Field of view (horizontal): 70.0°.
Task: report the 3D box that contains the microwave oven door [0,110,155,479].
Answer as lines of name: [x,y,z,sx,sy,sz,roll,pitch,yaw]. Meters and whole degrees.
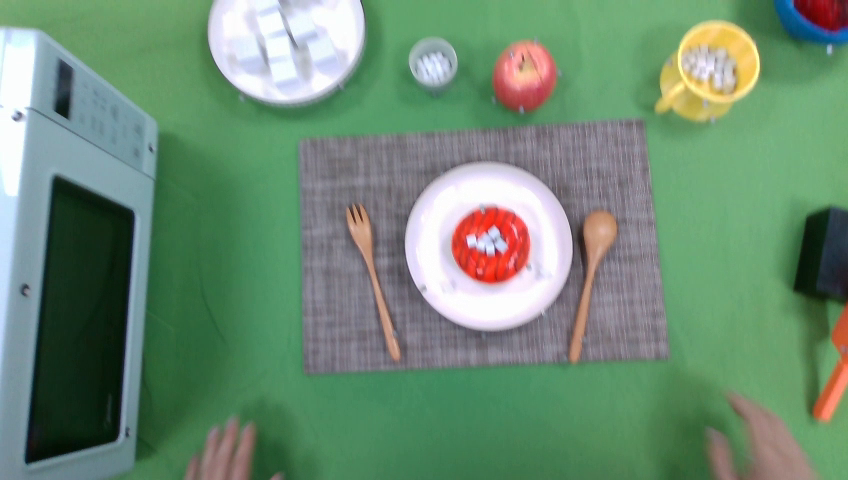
microwave oven door: [-0.368,0.075,0.637,0.039,0.244,0.354,0,80,3]

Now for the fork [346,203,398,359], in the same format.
fork: [-0.064,0.048,0.759,0.028,0.018,0.206,-14,80,-11]

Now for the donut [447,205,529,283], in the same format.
donut: [0.079,0.005,0.740,0.099,0.048,0.098,0,82,4]

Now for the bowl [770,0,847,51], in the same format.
bowl: [0.506,-0.301,0.771,0.151,0.077,0.151,0,81,3]

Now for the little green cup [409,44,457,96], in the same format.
little green cup: [0.013,-0.221,0.795,0.061,0.039,0.061,0,80,2]

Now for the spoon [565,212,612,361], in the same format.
spoon: [0.200,0.055,0.752,0.041,0.022,0.193,12,81,5]

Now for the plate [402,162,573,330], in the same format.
plate: [0.077,0.007,0.751,0.209,0.038,0.208,0,81,2]

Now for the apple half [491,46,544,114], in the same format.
apple half: [0.113,-0.196,0.770,0.053,0.075,0.080,-23,84,3]

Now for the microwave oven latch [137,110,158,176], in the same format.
microwave oven latch: [-0.359,-0.124,0.772,0.030,0.029,0.079,2,81,2]

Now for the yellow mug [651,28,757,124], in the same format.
yellow mug: [0.343,-0.197,0.766,0.131,0.064,0.099,-34,81,-3]

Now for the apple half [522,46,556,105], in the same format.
apple half: [0.149,-0.212,0.770,0.033,0.081,0.081,-23,80,2]

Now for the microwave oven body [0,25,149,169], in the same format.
microwave oven body: [-0.513,0.033,0.654,0.326,0.261,0.440,0,81,2]

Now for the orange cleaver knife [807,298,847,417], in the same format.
orange cleaver knife: [0.491,0.107,0.698,0.012,0.077,0.212,16,113,7]

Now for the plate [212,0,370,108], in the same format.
plate: [-0.174,-0.271,0.810,0.207,0.039,0.207,0,80,2]
